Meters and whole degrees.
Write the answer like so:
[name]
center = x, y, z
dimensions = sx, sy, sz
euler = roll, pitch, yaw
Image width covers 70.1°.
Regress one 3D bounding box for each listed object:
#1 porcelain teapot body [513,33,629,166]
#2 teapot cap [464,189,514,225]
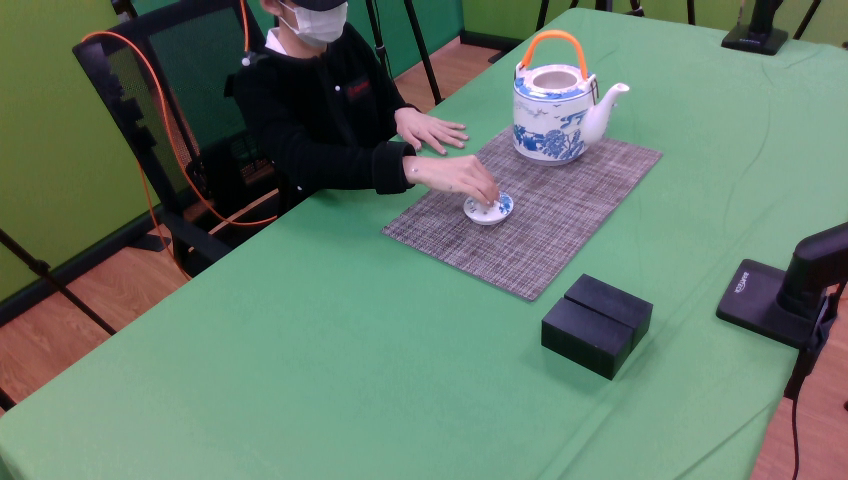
[porcelain teapot body]
center = 0.256, -0.248, 1.065
dimensions = 0.204, 0.226, 0.145
euler = 18, 47, 28
[teapot cap]
center = 0.108, -0.062, 1.009
dimensions = 0.085, 0.044, 0.085
euler = -2, 39, 2
